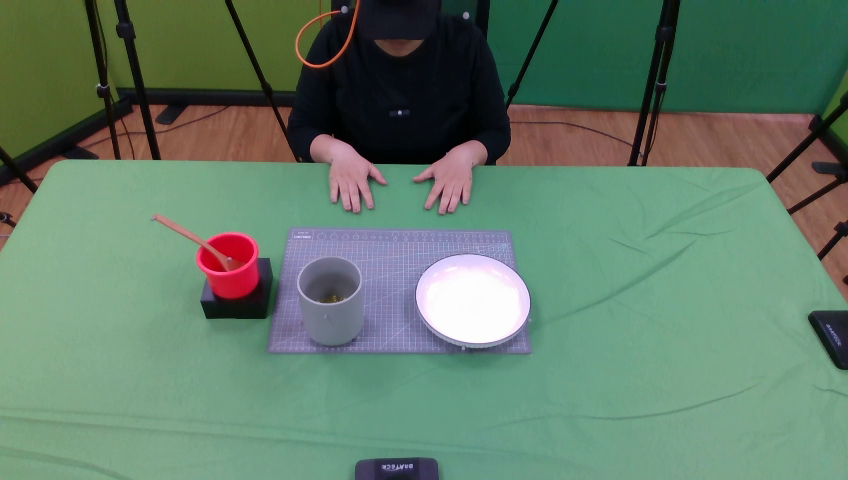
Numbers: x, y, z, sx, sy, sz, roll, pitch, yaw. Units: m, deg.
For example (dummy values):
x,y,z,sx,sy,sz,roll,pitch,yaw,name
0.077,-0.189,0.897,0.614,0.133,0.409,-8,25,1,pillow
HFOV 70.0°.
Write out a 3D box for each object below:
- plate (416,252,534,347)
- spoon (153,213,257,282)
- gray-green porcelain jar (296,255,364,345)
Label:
x,y,z,sx,sy,sz,roll,pitch,yaw,name
0.090,0.109,1.084,0.208,0.039,0.206,2,46,-2,plate
-0.360,0.012,1.005,0.195,0.021,0.041,41,37,-26,spoon
-0.154,0.106,1.008,0.106,0.127,0.105,2,46,-2,gray-green porcelain jar
